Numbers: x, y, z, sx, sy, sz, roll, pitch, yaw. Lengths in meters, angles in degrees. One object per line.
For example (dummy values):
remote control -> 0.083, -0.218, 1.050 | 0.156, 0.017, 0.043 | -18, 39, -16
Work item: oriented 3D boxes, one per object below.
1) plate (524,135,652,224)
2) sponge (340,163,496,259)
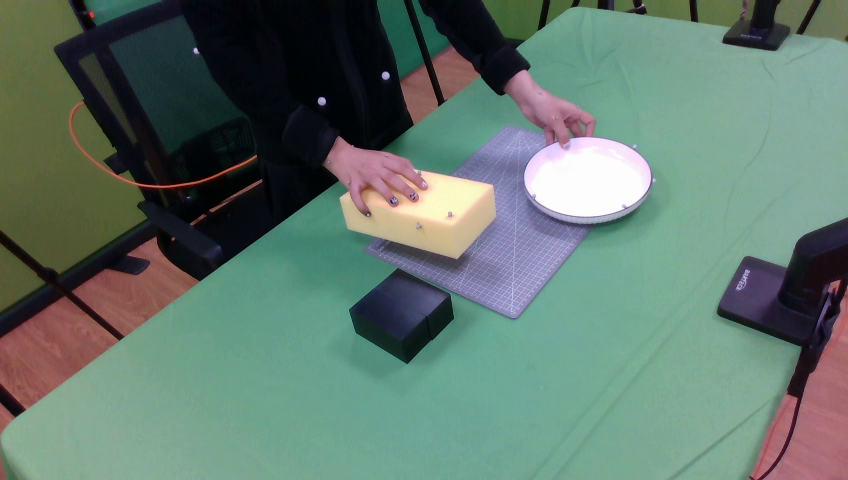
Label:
plate -> 0.272, -0.098, 1.018 | 0.209, 0.038, 0.208 | -5, 47, 6
sponge -> -0.009, -0.050, 0.924 | 0.205, 0.061, 0.118 | 15, 42, 29
